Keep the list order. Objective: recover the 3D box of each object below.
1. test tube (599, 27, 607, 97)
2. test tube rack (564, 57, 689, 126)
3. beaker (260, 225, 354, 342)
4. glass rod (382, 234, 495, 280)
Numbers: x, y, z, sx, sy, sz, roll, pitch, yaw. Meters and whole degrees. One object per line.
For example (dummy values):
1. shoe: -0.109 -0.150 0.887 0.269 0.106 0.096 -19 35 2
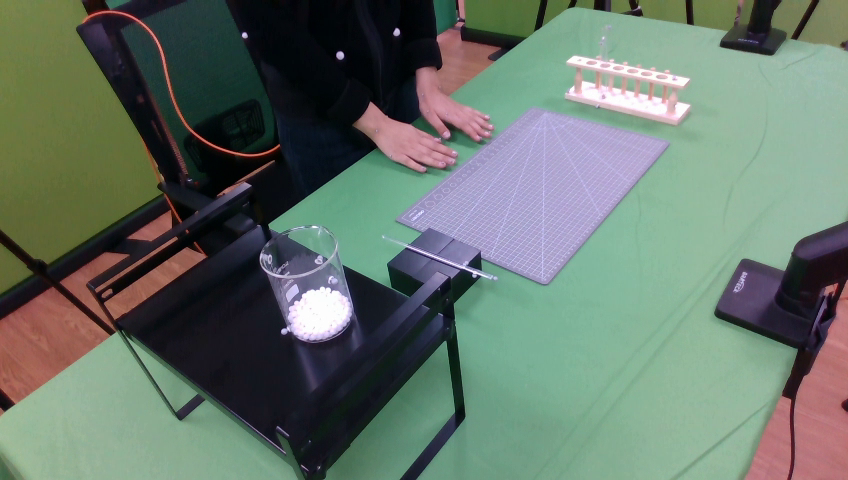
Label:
1. test tube: 0.358 -0.353 1.210 0.017 0.151 0.017 -8 43 8
2. test tube rack: 0.411 -0.311 1.230 0.240 0.085 0.067 23 49 32
3. beaker: -0.111 0.045 0.601 0.073 0.101 0.084 7 42 17
4. glass rod: 0.017 0.023 0.882 0.198 0.008 0.008 21 48 30
